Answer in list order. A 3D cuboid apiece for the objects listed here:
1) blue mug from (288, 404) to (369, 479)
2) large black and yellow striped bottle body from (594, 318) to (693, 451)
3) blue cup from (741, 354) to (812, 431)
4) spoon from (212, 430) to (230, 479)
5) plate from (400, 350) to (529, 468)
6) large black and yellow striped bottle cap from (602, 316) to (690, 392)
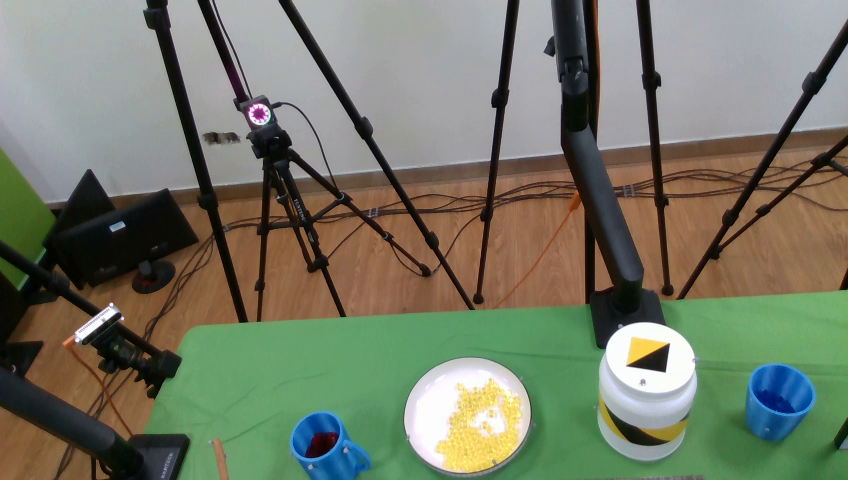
[{"bbox_3d":[-0.140,0.320,0.943,0.116,0.107,0.082,5,48,17],"label":"blue mug"},{"bbox_3d":[0.318,0.211,0.889,0.130,0.186,0.129,-7,45,7],"label":"large black and yellow striped bottle body"},{"bbox_3d":[0.506,0.230,0.886,0.092,0.101,0.091,-8,45,8],"label":"blue cup"},{"bbox_3d":[-0.285,0.375,0.893,0.041,0.021,0.193,-13,90,-3],"label":"spoon"},{"bbox_3d":[0.066,0.276,0.988,0.209,0.038,0.207,-6,46,7],"label":"plate"},{"bbox_3d":[0.303,0.154,0.829,0.115,0.019,0.114,-7,43,7],"label":"large black and yellow striped bottle cap"}]
